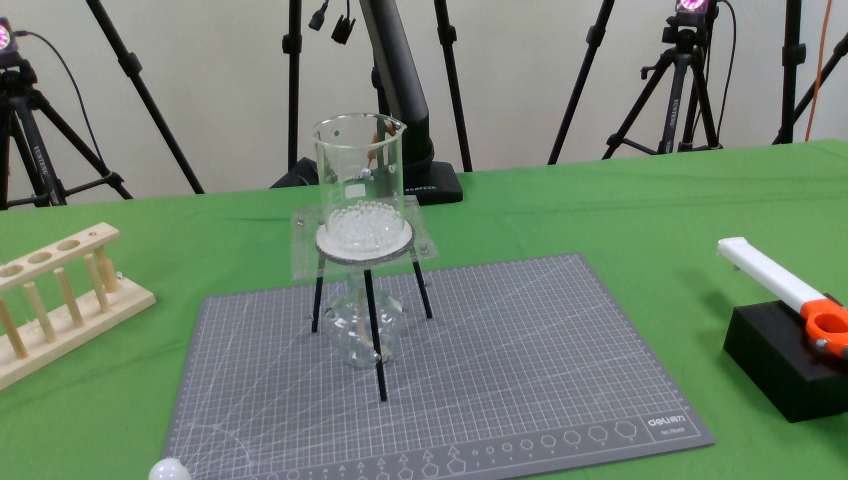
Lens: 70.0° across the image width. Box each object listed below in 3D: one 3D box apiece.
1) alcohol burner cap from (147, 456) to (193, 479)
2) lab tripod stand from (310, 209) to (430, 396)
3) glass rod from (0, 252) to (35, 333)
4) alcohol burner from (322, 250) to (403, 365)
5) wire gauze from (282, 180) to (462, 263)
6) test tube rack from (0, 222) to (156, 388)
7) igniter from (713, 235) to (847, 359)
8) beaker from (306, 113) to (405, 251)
[{"bbox_3d":[-0.188,0.181,0.450,0.034,0.048,0.033,1,33,0],"label":"alcohol burner cap"},{"bbox_3d":[-0.050,0.050,0.570,0.148,0.132,0.147,0,32,0],"label":"lab tripod stand"},{"bbox_3d":[-0.417,0.006,0.584,0.008,0.201,0.008,-5,25,3],"label":"glass rod"},{"bbox_3d":[-0.059,0.060,0.574,0.078,0.120,0.077,0,31,0],"label":"alcohol burner"},{"bbox_3d":[-0.048,-0.018,0.524,0.125,0.011,0.120,-14,31,-27],"label":"wire gauze"},{"bbox_3d":[-0.401,0.076,0.596,0.066,0.086,0.242,20,38,31],"label":"test tube rack"},{"bbox_3d":[0.354,0.065,0.542,0.057,0.025,0.273,-7,28,-8],"label":"igniter"},{"bbox_3d":[-0.052,-0.048,0.512,0.084,0.101,0.073,-19,37,-26],"label":"beaker"}]
